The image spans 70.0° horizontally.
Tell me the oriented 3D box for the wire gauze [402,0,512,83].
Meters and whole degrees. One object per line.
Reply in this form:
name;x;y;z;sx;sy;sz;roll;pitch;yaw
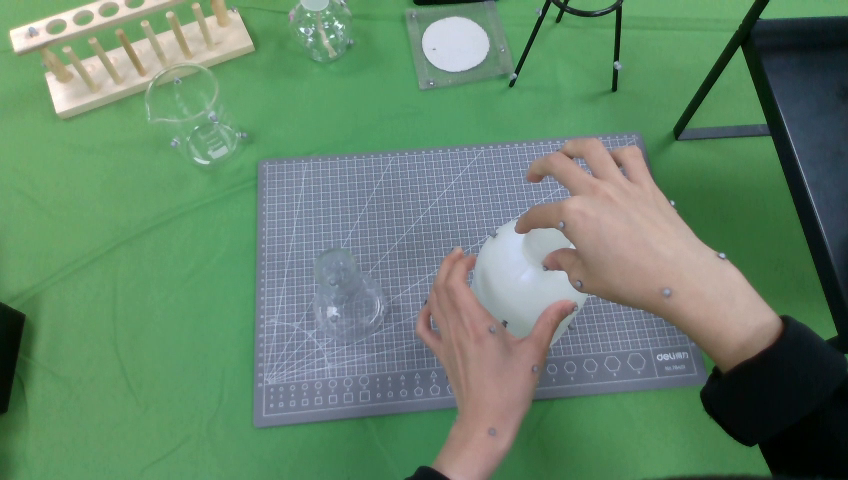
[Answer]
wire gauze;0.040;-0.258;0.767;0.121;0.011;0.124;-9;68;-6

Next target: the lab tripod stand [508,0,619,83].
lab tripod stand;0.172;-0.254;0.700;0.148;0.132;0.147;1;66;-2

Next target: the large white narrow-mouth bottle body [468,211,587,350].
large white narrow-mouth bottle body;0.092;0.031;0.546;0.102;0.196;0.101;-1;67;2

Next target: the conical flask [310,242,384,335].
conical flask;-0.079;0.041;0.576;0.075;0.122;0.075;0;67;0

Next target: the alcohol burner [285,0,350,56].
alcohol burner;-0.128;-0.277;0.716;0.078;0.120;0.077;1;65;-1

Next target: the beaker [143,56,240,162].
beaker;-0.251;-0.136;0.663;0.073;0.101;0.084;40;73;15

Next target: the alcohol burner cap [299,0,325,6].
alcohol burner cap;-0.128;-0.293;0.683;0.034;0.048;0.033;4;65;-8

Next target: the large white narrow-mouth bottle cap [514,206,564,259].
large white narrow-mouth bottle cap;0.088;-0.006;0.462;0.038;0.024;0.037;-1;67;2

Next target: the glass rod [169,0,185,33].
glass rod;-0.292;-0.302;0.667;0.008;0.201;0.008;2;65;-4

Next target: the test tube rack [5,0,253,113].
test tube rack;-0.337;-0.240;0.713;0.242;0.086;0.066;-24;69;-10
